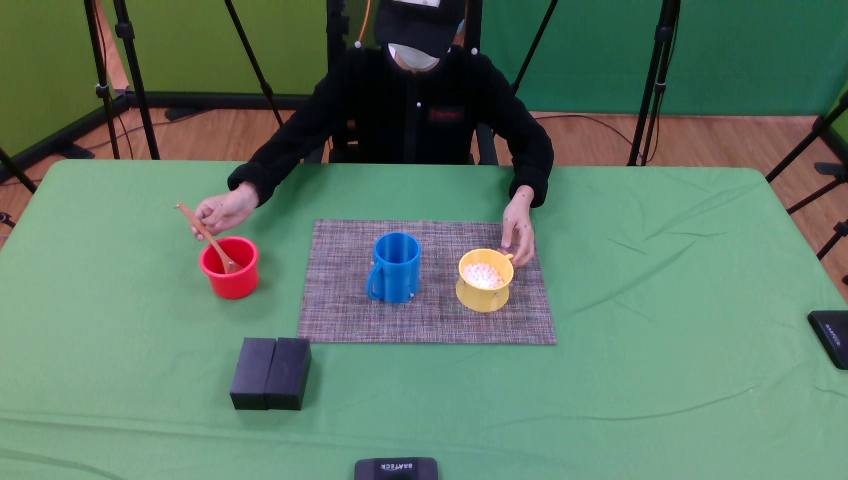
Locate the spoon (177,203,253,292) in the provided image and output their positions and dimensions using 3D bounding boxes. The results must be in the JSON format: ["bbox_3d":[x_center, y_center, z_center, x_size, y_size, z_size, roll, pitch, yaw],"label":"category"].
[{"bbox_3d":[-0.371,0.012,1.074,0.041,0.021,0.194,-43,105,-37],"label":"spoon"}]

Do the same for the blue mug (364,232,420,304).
[{"bbox_3d":[-0.062,0.059,1.073,0.082,0.106,0.116,35,53,27],"label":"blue mug"}]

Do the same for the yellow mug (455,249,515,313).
[{"bbox_3d":[0.120,0.066,1.108,0.131,0.064,0.099,-31,55,-31],"label":"yellow mug"}]
